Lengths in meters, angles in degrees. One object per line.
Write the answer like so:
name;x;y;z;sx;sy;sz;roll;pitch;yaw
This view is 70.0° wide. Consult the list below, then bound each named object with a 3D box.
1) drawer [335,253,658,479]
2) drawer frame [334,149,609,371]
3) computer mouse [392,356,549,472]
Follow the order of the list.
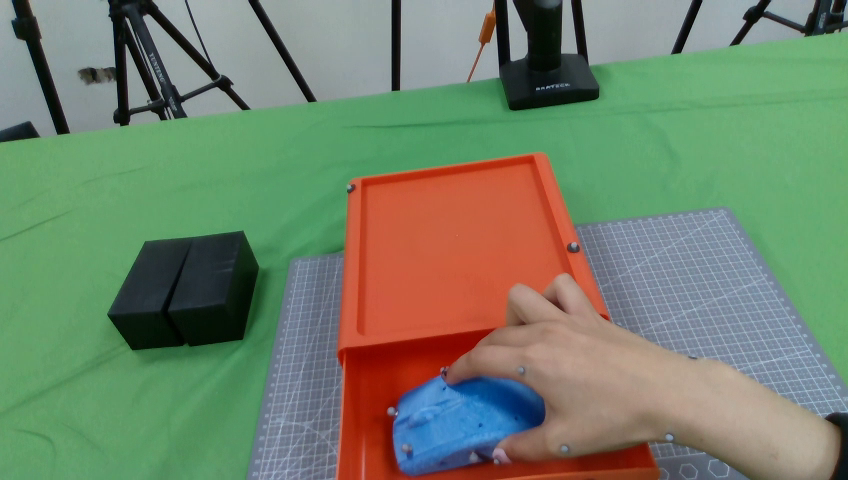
drawer;0.038;0.101;0.449;0.194;0.074;0.209;-8;42;3
drawer frame;0.031;0.023;0.532;0.202;0.083;0.211;-9;42;2
computer mouse;0.029;0.122;0.430;0.117;0.041;0.062;-19;49;17
